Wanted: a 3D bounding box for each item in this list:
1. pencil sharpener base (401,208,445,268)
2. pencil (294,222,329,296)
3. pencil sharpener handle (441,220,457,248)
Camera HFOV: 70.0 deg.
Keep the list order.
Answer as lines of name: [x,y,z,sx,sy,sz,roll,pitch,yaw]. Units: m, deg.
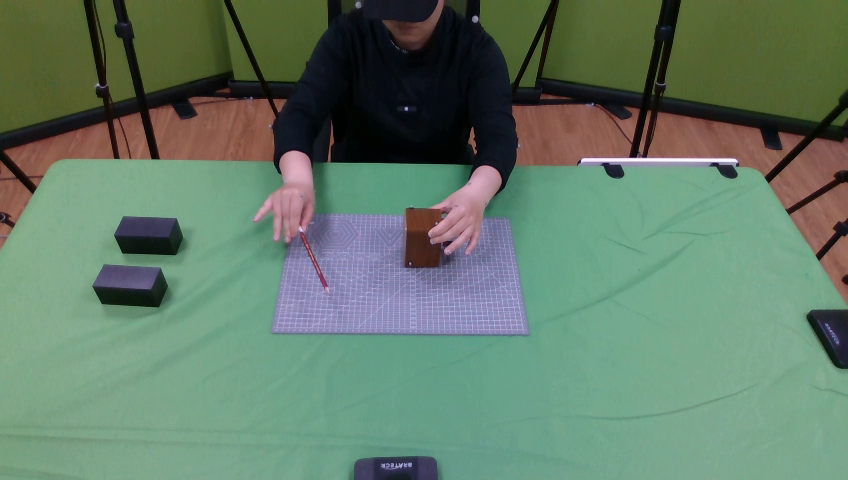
pencil sharpener base: [-0.003,-0.003,1.137,0.077,0.107,0.061,0,45,-5]
pencil: [-0.204,0.033,1.095,0.012,0.012,0.192,-17,49,-19]
pencil sharpener handle: [0.049,-0.011,1.132,0.031,0.068,0.036,0,45,-5]
